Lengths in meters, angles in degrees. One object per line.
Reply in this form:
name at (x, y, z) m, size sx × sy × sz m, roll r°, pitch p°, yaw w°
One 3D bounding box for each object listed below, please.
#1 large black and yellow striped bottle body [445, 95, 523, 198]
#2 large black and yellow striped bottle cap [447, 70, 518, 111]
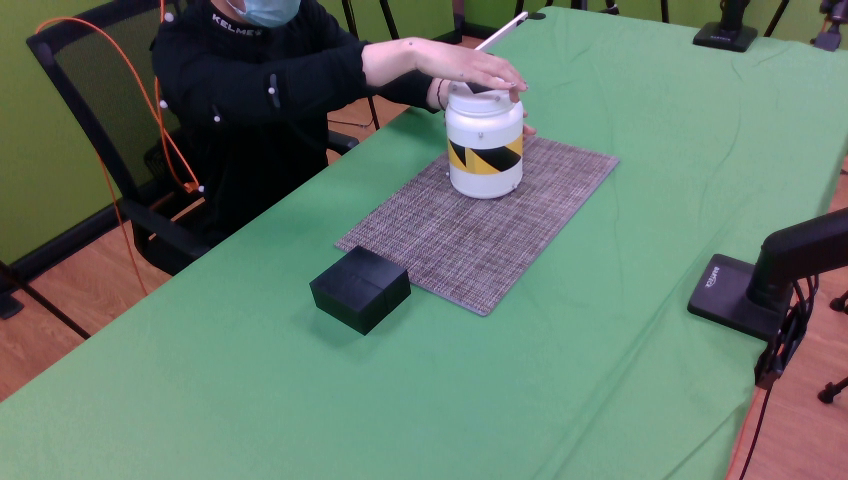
large black and yellow striped bottle body at (0.103, -0.179, 1.032) m, size 0.131 × 0.185 × 0.130 m, roll -4°, pitch 41°, yaw 4°
large black and yellow striped bottle cap at (0.094, -0.242, 0.975) m, size 0.115 × 0.019 × 0.114 m, roll -3°, pitch 40°, yaw 3°
